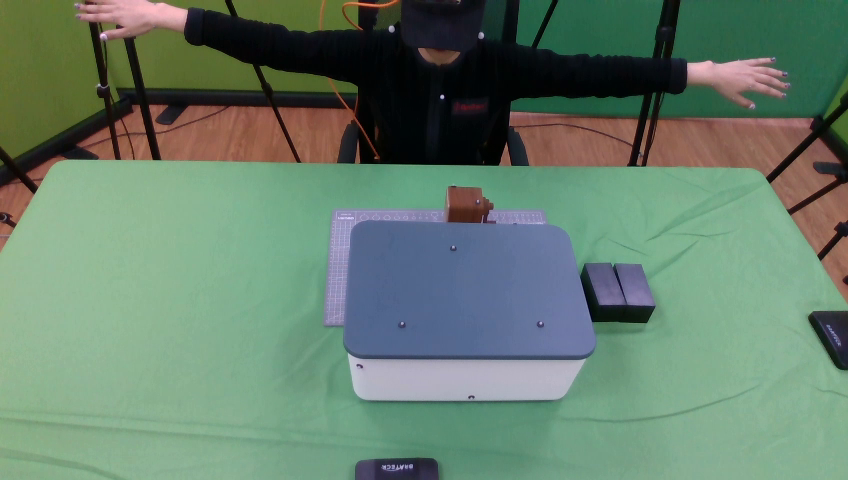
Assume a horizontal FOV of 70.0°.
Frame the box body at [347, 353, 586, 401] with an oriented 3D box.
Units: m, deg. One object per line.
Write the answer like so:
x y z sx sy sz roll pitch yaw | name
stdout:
0.060 0.120 0.988 0.364 0.161 0.252 1 47 -4 | box body

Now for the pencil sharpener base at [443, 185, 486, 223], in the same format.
0.078 -0.049 1.188 0.077 0.107 0.061 2 46 -3 | pencil sharpener base

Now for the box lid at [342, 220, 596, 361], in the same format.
0.066 0.070 0.934 0.372 0.015 0.261 1 48 -4 | box lid

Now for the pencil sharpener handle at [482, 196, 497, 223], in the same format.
0.130 -0.056 1.182 0.031 0.068 0.036 2 43 -3 | pencil sharpener handle
